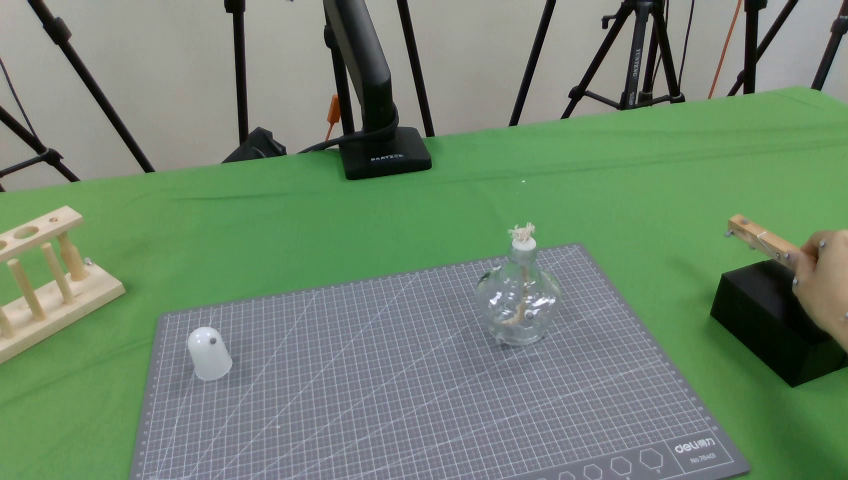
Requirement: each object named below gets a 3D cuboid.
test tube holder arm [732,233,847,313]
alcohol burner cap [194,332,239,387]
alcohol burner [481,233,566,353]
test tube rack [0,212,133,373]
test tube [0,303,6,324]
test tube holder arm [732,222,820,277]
[{"bbox_3d":[0.341,0.036,0.526,0.015,0.013,0.176,-38,42,1],"label":"test tube holder arm"},{"bbox_3d":[-0.184,0.102,0.533,0.034,0.048,0.033,-2,36,1],"label":"alcohol burner cap"},{"bbox_3d":[0.089,0.042,0.538,0.078,0.120,0.077,-1,37,1],"label":"alcohol burner"},{"bbox_3d":[-0.409,0.071,0.556,0.066,0.086,0.242,23,43,32],"label":"test tube rack"},{"bbox_3d":[-0.415,0.016,0.549,0.017,0.151,0.017,-1,31,1],"label":"test tube"},{"bbox_3d":[0.321,0.010,0.556,0.015,0.010,0.087,-38,39,1],"label":"test tube holder arm"}]
